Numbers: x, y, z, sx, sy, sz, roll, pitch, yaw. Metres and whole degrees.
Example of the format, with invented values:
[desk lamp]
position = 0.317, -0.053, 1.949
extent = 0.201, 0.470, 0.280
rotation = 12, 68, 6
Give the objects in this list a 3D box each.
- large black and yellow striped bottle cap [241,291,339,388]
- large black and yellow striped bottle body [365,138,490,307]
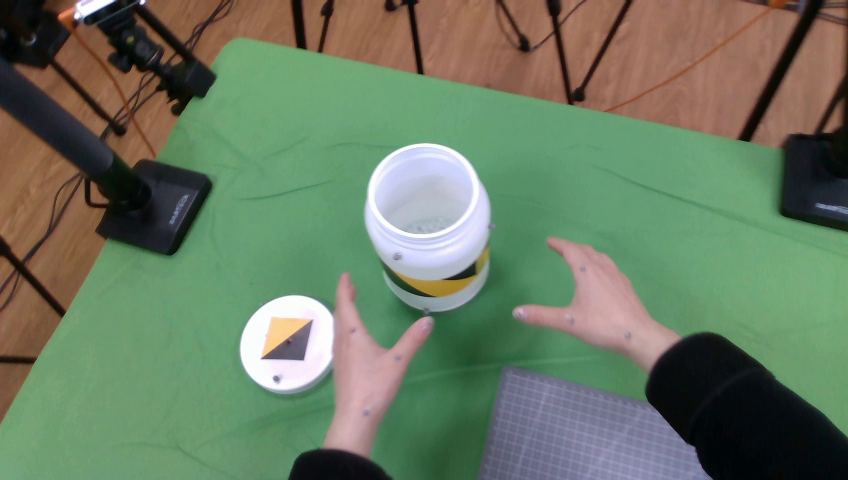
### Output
[large black and yellow striped bottle cap]
position = -0.157, 0.115, 0.711
extent = 0.115, 0.019, 0.114
rotation = -2, 64, 4
[large black and yellow striped bottle body]
position = 0.007, -0.015, 0.665
extent = 0.131, 0.185, 0.129
rotation = -2, 65, 4
